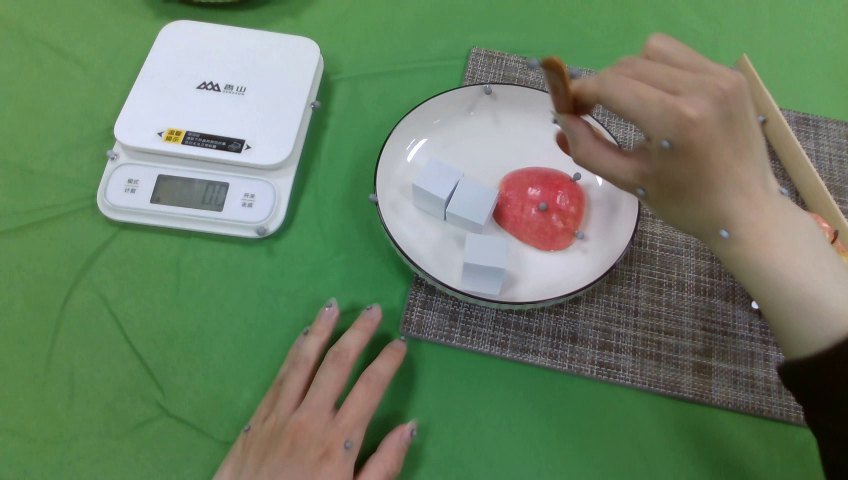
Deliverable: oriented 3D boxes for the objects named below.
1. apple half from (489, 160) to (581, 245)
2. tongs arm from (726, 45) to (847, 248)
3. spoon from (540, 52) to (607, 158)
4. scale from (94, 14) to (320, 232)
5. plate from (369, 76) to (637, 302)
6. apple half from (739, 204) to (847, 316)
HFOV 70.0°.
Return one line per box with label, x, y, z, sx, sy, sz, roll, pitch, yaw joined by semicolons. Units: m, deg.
apple half;0.091;-0.038;0.481;0.081;0.033;0.080;4;62;-6
tongs arm;0.342;-0.013;0.496;0.028;0.028;0.384;-9;63;-13
spoon;0.097;-0.082;0.399;0.041;0.194;0.021;14;92;19
scale;-0.177;-0.104;0.510;0.149;0.032;0.199;8;62;0
plate;0.061;-0.042;0.486;0.209;0.038;0.207;2;62;-3
apple half;0.266;0.021;0.447;0.053;0.075;0.080;-23;69;-10
